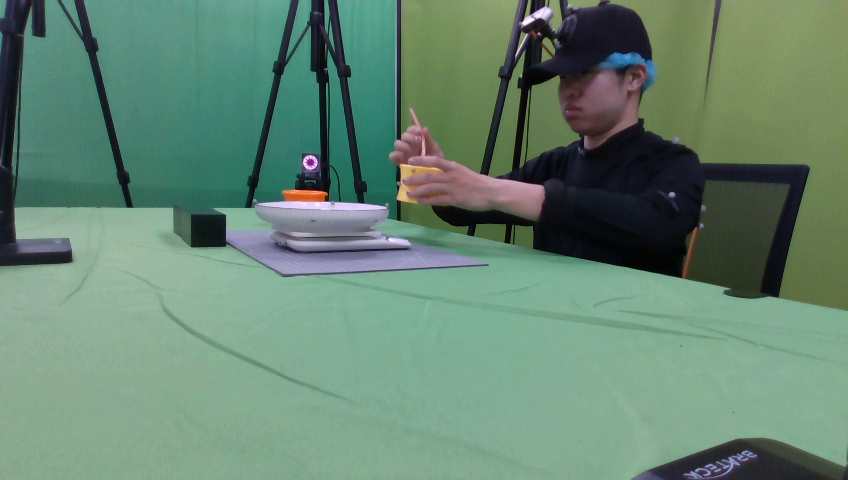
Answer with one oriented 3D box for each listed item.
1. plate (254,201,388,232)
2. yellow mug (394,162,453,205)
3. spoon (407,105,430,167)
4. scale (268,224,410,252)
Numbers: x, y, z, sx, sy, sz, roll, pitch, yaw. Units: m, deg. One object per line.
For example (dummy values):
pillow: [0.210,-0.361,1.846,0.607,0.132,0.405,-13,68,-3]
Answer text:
plate: [-0.161,-0.038,0.961,0.209,0.038,0.209,2,6,0]
yellow mug: [0.004,-0.104,1.110,0.099,0.064,0.131,10,8,19]
spoon: [-0.008,-0.193,1.153,0.021,0.193,0.042,-15,-37,5]
scale: [-0.137,-0.006,0.980,0.202,0.031,0.148,-1,8,-30]
